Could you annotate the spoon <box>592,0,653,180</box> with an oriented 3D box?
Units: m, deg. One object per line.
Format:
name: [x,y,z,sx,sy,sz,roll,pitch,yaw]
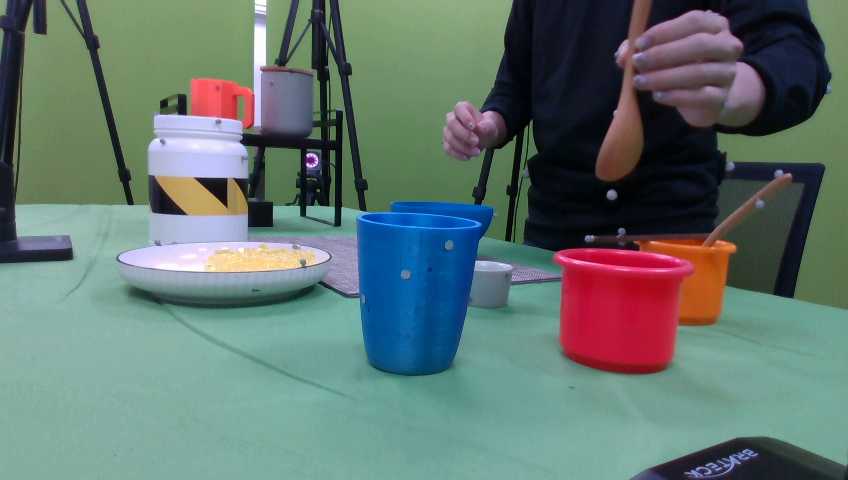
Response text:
spoon: [0.162,-0.139,0.470,0.042,0.193,0.021,-2,19,-22]

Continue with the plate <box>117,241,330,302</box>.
plate: [-0.203,0.031,0.630,0.209,0.038,0.209,3,7,0]

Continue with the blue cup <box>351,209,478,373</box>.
blue cup: [-0.009,0.034,0.414,0.093,0.100,0.092,4,9,0]

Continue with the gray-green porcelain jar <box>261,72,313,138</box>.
gray-green porcelain jar: [-0.284,-0.277,1.253,0.106,0.126,0.106,2,8,0]

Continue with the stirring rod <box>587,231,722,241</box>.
stirring rod: [0.227,-0.005,0.586,0.177,0.006,0.014,-1,13,-28]

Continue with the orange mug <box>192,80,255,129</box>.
orange mug: [-0.389,-0.257,1.172,0.126,0.100,0.083,-1,6,9]

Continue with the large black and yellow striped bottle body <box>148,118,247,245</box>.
large black and yellow striped bottle body: [-0.318,-0.076,0.855,0.131,0.184,0.130,2,7,0]

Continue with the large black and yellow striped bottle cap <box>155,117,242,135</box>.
large black and yellow striped bottle cap: [-0.313,-0.159,0.845,0.115,0.019,0.115,3,9,0]

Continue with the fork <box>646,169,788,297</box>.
fork: [0.256,0.004,0.543,0.028,0.018,0.207,3,-37,-9]

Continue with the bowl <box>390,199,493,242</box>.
bowl: [0.023,-0.016,0.874,0.151,0.077,0.151,2,8,0]

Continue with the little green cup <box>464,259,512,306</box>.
little green cup: [0.057,0.043,0.612,0.061,0.038,0.061,3,8,0]

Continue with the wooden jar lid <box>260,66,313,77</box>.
wooden jar lid: [-0.283,-0.339,1.244,0.108,0.020,0.108,5,8,-1]
